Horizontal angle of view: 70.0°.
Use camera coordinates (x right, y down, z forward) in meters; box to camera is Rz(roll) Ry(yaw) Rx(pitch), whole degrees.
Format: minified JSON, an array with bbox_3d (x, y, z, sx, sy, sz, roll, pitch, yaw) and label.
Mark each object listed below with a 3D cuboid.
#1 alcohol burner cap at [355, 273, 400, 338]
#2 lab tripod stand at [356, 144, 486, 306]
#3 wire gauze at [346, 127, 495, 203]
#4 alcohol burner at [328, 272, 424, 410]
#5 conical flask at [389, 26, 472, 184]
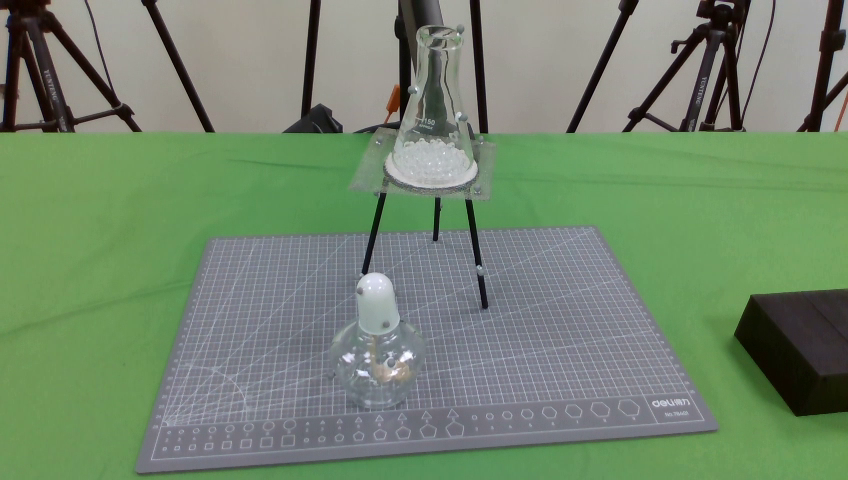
[{"bbox_3d":[-0.036,0.047,0.456,0.034,0.048,0.033,-3,38,3],"label":"alcohol burner cap"},{"bbox_3d":[0.006,-0.015,0.593,0.148,0.132,0.147,4,35,-2],"label":"lab tripod stand"},{"bbox_3d":[0.002,-0.069,0.555,0.121,0.011,0.124,7,37,5],"label":"wire gauze"},{"bbox_3d":[-0.038,0.076,0.478,0.078,0.120,0.077,1,33,0],"label":"alcohol burner"},{"bbox_3d":[0.008,-0.116,0.518,0.075,0.123,0.074,2,36,-1],"label":"conical flask"}]
